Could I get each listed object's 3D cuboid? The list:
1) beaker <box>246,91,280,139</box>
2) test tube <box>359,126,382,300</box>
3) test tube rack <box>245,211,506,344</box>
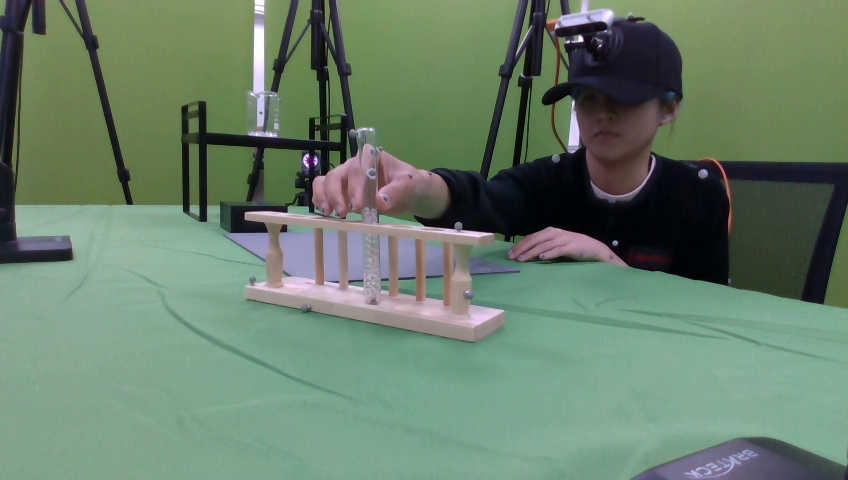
[{"bbox_3d":[-0.361,-0.279,1.351,0.074,0.100,0.084,3,8,1],"label":"beaker"},{"bbox_3d":[-0.046,-0.022,0.521,0.017,0.150,0.017,-1,7,0],"label":"test tube"},{"bbox_3d":[-0.049,0.025,0.547,0.241,0.085,0.067,7,8,28],"label":"test tube rack"}]
